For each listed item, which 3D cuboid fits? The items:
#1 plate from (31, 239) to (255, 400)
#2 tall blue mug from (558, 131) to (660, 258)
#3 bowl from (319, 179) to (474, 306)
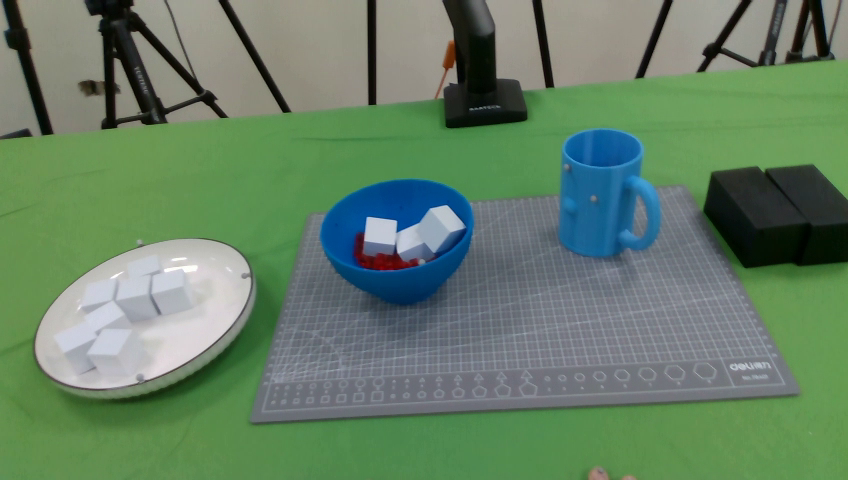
[{"bbox_3d":[-0.269,0.076,0.600,0.209,0.038,0.207,-4,39,3],"label":"plate"},{"bbox_3d":[0.191,-0.042,0.615,0.106,0.109,0.077,17,43,27],"label":"tall blue mug"},{"bbox_3d":[-0.023,0.012,0.605,0.151,0.077,0.150,-4,38,4],"label":"bowl"}]
